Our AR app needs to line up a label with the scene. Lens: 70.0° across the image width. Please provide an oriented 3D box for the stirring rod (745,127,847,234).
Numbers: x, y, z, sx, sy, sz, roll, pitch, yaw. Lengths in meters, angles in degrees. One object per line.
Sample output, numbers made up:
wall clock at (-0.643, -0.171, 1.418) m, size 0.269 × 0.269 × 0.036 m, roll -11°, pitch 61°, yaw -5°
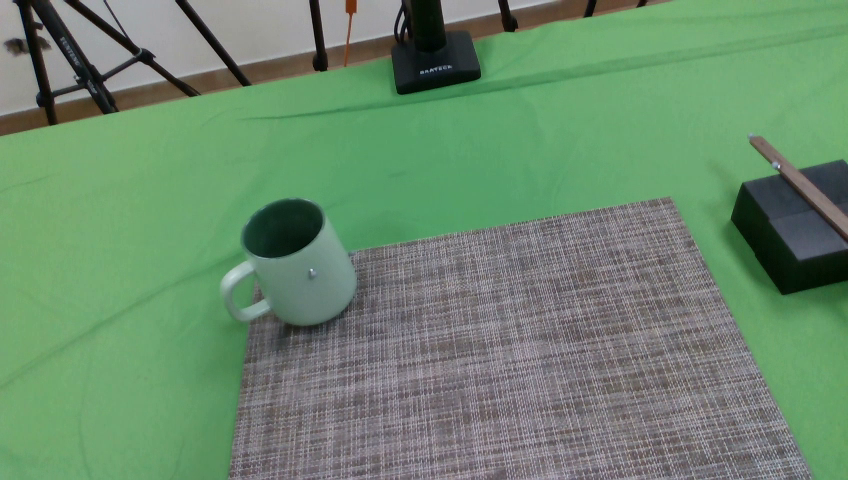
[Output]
stirring rod at (0.349, -0.050, 0.551) m, size 0.014 × 0.006 × 0.174 m, roll -16°, pitch 49°, yaw -5°

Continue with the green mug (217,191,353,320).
green mug at (-0.136, 0.026, 0.580) m, size 0.125 × 0.106 × 0.091 m, roll -36°, pitch 52°, yaw -18°
